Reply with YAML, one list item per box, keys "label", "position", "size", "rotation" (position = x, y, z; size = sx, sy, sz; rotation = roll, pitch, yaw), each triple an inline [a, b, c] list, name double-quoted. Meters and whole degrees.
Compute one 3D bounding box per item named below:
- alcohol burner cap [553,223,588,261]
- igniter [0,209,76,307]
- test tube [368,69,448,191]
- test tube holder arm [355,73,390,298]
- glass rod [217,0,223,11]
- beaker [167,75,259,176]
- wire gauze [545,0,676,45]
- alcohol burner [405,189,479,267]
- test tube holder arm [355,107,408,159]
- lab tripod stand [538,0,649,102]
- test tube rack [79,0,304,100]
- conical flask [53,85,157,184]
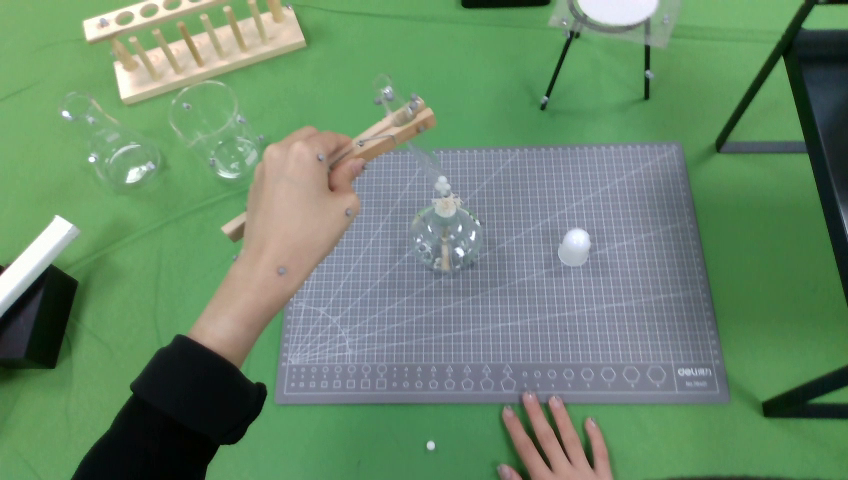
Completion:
- label: "alcohol burner cap"
  position: [0.157, -0.001, 0.643]
  size: [0.034, 0.048, 0.033]
  rotation: [-1, 66, 2]
- label: "igniter"
  position: [-0.455, 0.082, 0.597]
  size: [0.057, 0.025, 0.275]
  rotation: [26, 69, 23]
- label: "test tube"
  position: [-0.008, -0.082, 0.487]
  size: [0.017, 0.152, 0.017]
  rotation: [-9, 61, 17]
- label: "test tube holder arm"
  position: [-0.042, -0.041, 0.485]
  size: [0.015, 0.013, 0.178]
  rotation: [1, 97, -27]
- label: "glass rod"
  position: [-0.264, -0.323, 0.712]
  size: [0.008, 0.201, 0.008]
  rotation: [-4, 59, 8]
- label: "beaker"
  position: [-0.236, -0.122, 0.688]
  size: [0.074, 0.101, 0.083]
  rotation: [13, 68, 9]
- label: "wire gauze"
  position: [0.203, -0.262, 0.634]
  size: [0.121, 0.011, 0.124]
  rotation: [20, 70, 9]
- label: "alcohol burner"
  position: [0.018, -0.018, 0.618]
  size: [0.078, 0.120, 0.077]
  rotation: [0, 65, 1]
- label: "test tube holder arm"
  position: [-0.035, -0.078, 0.470]
  size: [0.015, 0.088, 0.010]
  rotation: [4, 72, -23]
- label: "lab tripod stand"
  position: [0.199, -0.233, 0.695]
  size: [0.148, 0.132, 0.147]
  rotation: [0, 65, 1]
- label: "test tube rack"
  position: [-0.285, -0.264, 0.759]
  size: [0.242, 0.086, 0.066]
  rotation: [-20, 67, -6]
- label: "conical flask"
  position: [-0.362, -0.122, 0.681]
  size: [0.075, 0.123, 0.075]
  rotation: [-1, 66, 3]
